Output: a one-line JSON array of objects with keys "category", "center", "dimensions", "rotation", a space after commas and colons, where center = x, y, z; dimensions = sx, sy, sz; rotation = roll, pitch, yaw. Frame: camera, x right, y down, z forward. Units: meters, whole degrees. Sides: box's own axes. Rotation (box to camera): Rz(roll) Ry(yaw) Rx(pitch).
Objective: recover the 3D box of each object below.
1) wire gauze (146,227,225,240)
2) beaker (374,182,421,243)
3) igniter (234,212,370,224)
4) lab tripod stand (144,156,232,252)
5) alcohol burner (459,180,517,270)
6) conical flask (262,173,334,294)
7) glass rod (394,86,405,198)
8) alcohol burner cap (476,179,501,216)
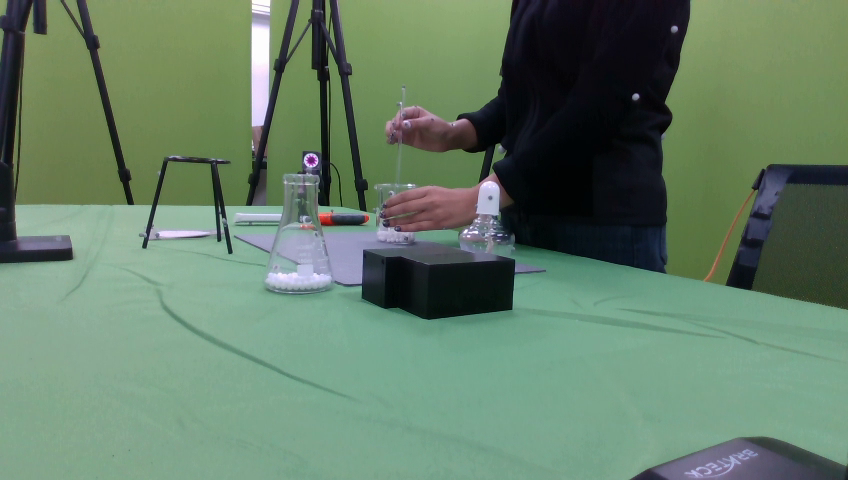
[{"category": "wire gauze", "center": [-0.400, -0.012, 1.019], "dimensions": [0.122, 0.011, 0.124], "rotation": [-1, 6, -26]}, {"category": "beaker", "center": [-0.049, -0.048, 1.031], "dimensions": [0.084, 0.100, 0.074], "rotation": [4, 7, 21]}, {"category": "igniter", "center": [-0.247, -0.046, 1.253], "dimensions": [0.278, 0.025, 0.057], "rotation": [-1, -3, -27]}, {"category": "lab tripod stand", "center": [-0.325, -0.054, 0.881], "dimensions": [0.148, 0.131, 0.148], "rotation": [4, 7, 0]}, {"category": "alcohol burner", "center": [0.086, -0.021, 0.805], "dimensions": [0.078, 0.119, 0.078], "rotation": [3, 9, 0]}, {"category": "conical flask", "center": [-0.131, -0.009, 0.632], "dimensions": [0.075, 0.122, 0.075], "rotation": [2, 8, 0]}, {"category": "glass rod", "center": [-0.043, -0.169, 1.036], "dimensions": [0.008, 0.199, 0.008], "rotation": [3, -9, 1]}, {"category": "alcohol burner cap", "center": [0.086, -0.057, 0.801], "dimensions": [0.034, 0.048, 0.034], "rotation": [3, 2, 0]}]
